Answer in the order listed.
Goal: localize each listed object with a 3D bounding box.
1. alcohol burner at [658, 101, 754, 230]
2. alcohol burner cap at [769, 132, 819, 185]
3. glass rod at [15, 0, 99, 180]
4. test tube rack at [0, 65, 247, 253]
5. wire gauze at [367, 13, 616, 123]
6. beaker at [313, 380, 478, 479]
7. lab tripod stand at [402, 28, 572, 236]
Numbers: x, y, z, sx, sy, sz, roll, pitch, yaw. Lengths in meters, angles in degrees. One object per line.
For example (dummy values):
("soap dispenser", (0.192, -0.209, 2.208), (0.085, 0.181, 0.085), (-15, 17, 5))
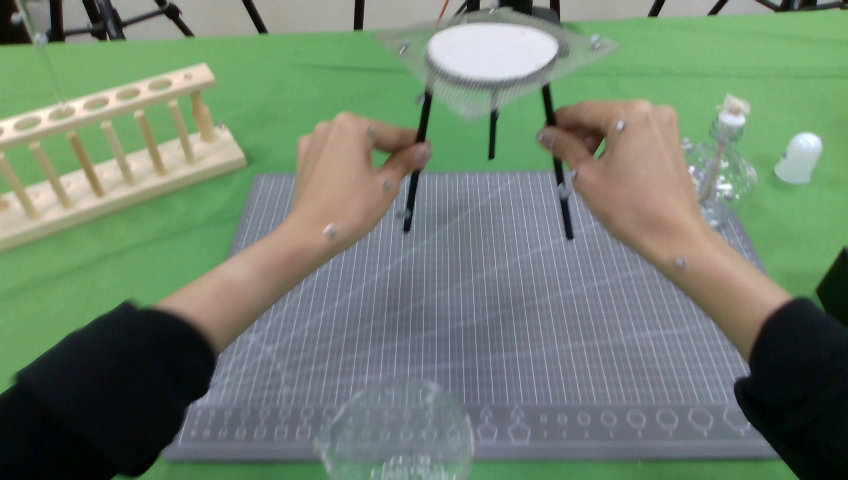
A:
("alcohol burner", (0.242, -0.066, 0.510), (0.078, 0.120, 0.077), (0, 47, 1))
("alcohol burner cap", (0.354, -0.080, 0.574), (0.034, 0.048, 0.033), (-1, 45, 1))
("glass rod", (-0.313, -0.125, 0.518), (0.008, 0.201, 0.008), (3, 46, -2))
("test tube rack", (-0.302, -0.078, 0.565), (0.243, 0.086, 0.066), (-24, 49, -20))
("wire gauze", (0.042, -0.125, 0.404), (0.121, 0.011, 0.123), (-24, 45, -22))
("beaker", (-0.013, 0.136, 0.334), (0.084, 0.101, 0.073), (2, 45, 5))
("lab tripod stand", (0.050, -0.076, 0.450), (0.148, 0.133, 0.147), (-1, 41, 1))
